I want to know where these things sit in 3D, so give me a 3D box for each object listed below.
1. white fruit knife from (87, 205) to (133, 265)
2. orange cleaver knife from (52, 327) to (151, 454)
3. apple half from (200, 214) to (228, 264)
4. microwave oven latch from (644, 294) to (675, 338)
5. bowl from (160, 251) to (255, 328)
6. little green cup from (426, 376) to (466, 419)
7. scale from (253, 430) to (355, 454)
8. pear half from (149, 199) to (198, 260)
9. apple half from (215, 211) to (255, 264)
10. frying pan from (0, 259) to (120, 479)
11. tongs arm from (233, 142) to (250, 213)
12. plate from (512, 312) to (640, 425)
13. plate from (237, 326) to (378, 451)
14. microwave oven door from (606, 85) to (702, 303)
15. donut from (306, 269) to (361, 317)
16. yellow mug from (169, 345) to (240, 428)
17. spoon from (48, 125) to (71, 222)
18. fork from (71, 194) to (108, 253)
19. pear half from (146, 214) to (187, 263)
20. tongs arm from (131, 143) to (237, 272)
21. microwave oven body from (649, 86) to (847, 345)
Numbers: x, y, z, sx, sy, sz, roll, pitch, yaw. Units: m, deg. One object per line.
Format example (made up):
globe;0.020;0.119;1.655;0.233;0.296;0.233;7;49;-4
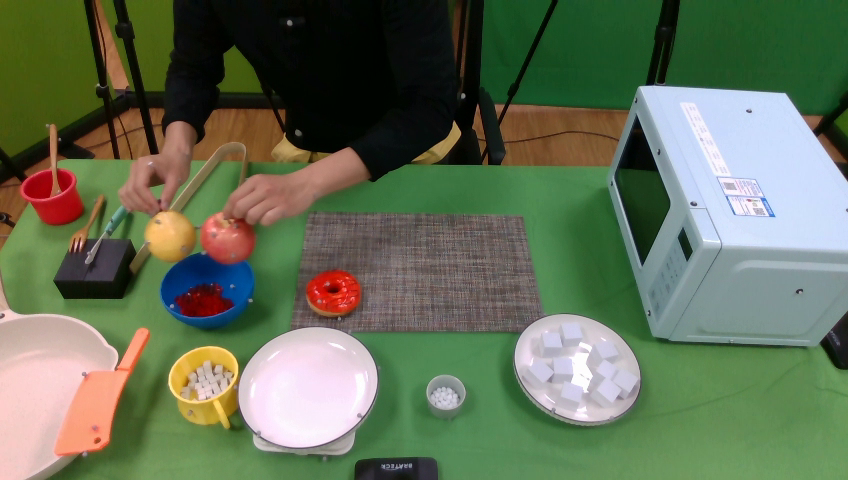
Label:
white fruit knife;-0.584;-0.013;1.129;0.016;0.027;0.206;-1;31;-4
orange cleaver knife;-0.462;0.212;0.879;0.077;0.012;0.210;7;45;-2
apple half;-0.329;0.004;0.939;0.033;0.081;0.081;-14;48;-24
microwave oven latch;0.410;0.133;1.061;0.030;0.029;0.078;2;45;-1
bowl;-0.362;0.097;1.040;0.151;0.077;0.150;2;46;-2
little green cup;0.033;0.248;0.950;0.061;0.039;0.061;2;46;-2
scale;-0.175;0.236;0.951;0.149;0.032;0.199;4;46;0
pear half;-0.406;-0.026;0.984;0.076;0.110;0.055;9;37;8
apple half;-0.294;-0.005;0.955;0.053;0.075;0.080;-14;41;-24
frying pan;-0.647;0.164;0.936;0.307;0.103;0.485;-19;58;-22
tongs arm;-0.397;-0.074;1.232;0.051;0.026;0.382;-1;45;0
plate;0.246;0.213;0.999;0.208;0.039;0.206;2;46;-2
plate;-0.174;0.224;0.917;0.209;0.038;0.208;2;46;-2
microwave oven door;0.422;-0.094;1.140;0.039;0.245;0.353;2;46;-1
donut;-0.160;0.094;1.075;0.099;0.048;0.098;4;46;-4
yellow mug;-0.323;0.230;0.922;0.100;0.064;0.130;-24;53;-25
spoon;-0.719;-0.131;1.189;0.041;0.021;0.193;-3;90;-7
fork;-0.634;-0.036;1.158;0.028;0.019;0.206;-9;32;-7
pear half;-0.416;0.003;0.963;0.070;0.088;0.031;9;37;7
tongs arm;-0.482;-0.080;1.234;0.028;0.028;0.385;7;45;12
microwave oven body;0.567;-0.053;1.118;0.326;0.261;0.439;2;45;-1
